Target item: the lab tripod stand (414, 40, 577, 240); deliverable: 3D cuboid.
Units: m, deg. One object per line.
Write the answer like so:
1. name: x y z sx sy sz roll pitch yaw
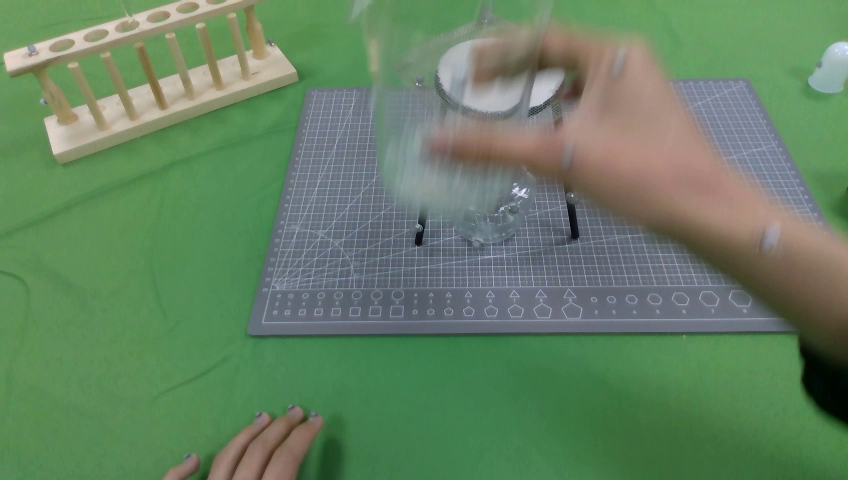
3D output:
1. lab tripod stand: 0.056 -0.070 0.459 0.148 0.132 0.147 0 49 1

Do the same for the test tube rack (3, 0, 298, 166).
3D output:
1. test tube rack: -0.256 -0.166 0.593 0.242 0.086 0.066 -25 53 -18

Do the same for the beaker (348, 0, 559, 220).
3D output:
1. beaker: 0.010 -0.065 0.273 0.084 0.101 0.073 6 50 4

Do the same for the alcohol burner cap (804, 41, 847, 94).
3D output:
1. alcohol burner cap: 0.400 -0.172 0.593 0.034 0.048 0.033 -1 49 2

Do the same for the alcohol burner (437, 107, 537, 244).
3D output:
1. alcohol burner: 0.048 -0.052 0.458 0.078 0.120 0.077 -1 51 1

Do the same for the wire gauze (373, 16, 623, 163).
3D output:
1. wire gauze: 0.049 -0.112 0.406 0.121 0.011 0.124 -34 56 -25

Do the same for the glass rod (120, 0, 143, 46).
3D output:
1. glass rod: -0.268 -0.210 0.544 0.008 0.201 0.008 2 50 -2
